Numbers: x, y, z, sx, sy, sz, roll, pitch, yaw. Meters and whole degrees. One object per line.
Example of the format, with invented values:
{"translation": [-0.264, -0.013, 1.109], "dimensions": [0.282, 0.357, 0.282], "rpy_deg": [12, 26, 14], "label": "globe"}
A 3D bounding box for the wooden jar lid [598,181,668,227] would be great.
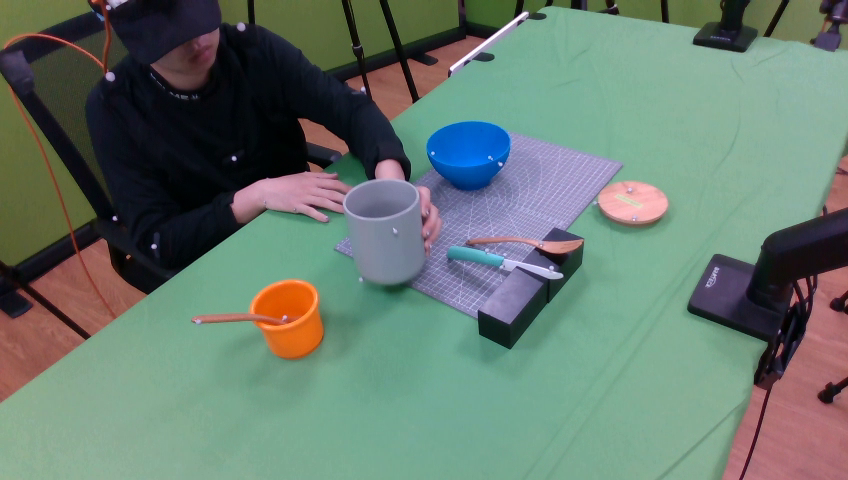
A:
{"translation": [0.340, -0.058, 0.988], "dimensions": [0.108, 0.021, 0.108], "rpy_deg": [-5, 41, 5], "label": "wooden jar lid"}

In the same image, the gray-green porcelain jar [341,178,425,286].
{"translation": [-0.055, -0.008, 0.854], "dimensions": [0.106, 0.127, 0.105], "rpy_deg": [-4, 37, 3], "label": "gray-green porcelain jar"}

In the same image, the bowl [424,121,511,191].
{"translation": [0.080, -0.140, 1.074], "dimensions": [0.151, 0.077, 0.150], "rpy_deg": [-4, 40, 4], "label": "bowl"}

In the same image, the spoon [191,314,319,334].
{"translation": [-0.213, 0.105, 0.781], "dimensions": [0.041, 0.195, 0.021], "rpy_deg": [30, 97, 37], "label": "spoon"}

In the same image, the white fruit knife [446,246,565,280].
{"translation": [0.111, 0.033, 0.868], "dimensions": [0.205, 0.027, 0.016], "rpy_deg": [11, 44, 40], "label": "white fruit knife"}

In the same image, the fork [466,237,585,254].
{"translation": [0.142, 0.005, 0.894], "dimensions": [0.205, 0.019, 0.028], "rpy_deg": [5, 42, 41], "label": "fork"}
